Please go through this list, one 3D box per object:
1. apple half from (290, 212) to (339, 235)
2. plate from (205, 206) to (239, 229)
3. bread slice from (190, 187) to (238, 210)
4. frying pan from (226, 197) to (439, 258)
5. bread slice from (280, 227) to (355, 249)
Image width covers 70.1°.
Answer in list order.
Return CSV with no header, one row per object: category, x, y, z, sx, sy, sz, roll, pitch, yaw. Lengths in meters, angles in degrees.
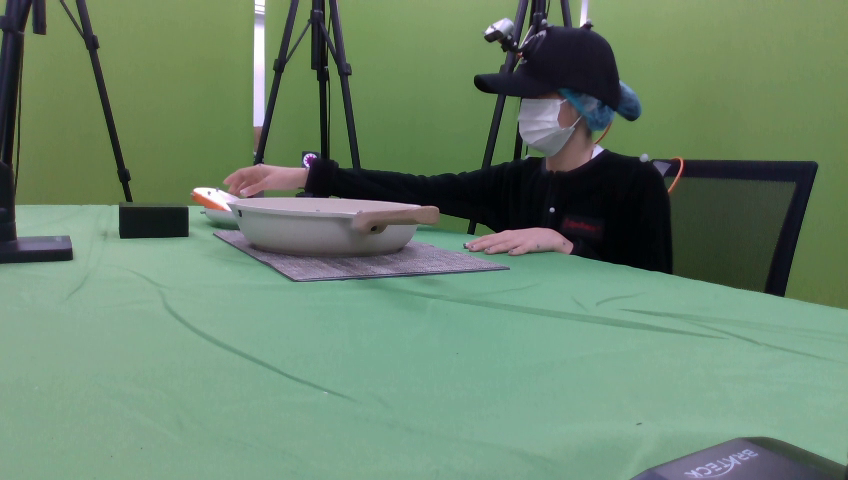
apple half,-0.169,-0.027,0.936,0.081,0.033,0.081,2,10,0
plate,-0.324,-0.046,1.199,0.208,0.039,0.207,3,7,0
bread slice,-0.402,-0.074,1.218,0.131,0.019,0.105,26,12,15
frying pan,-0.103,-0.027,0.845,0.308,0.102,0.486,-1,0,-25
bread slice,-0.170,-0.004,0.943,0.107,0.018,0.134,2,7,-15
